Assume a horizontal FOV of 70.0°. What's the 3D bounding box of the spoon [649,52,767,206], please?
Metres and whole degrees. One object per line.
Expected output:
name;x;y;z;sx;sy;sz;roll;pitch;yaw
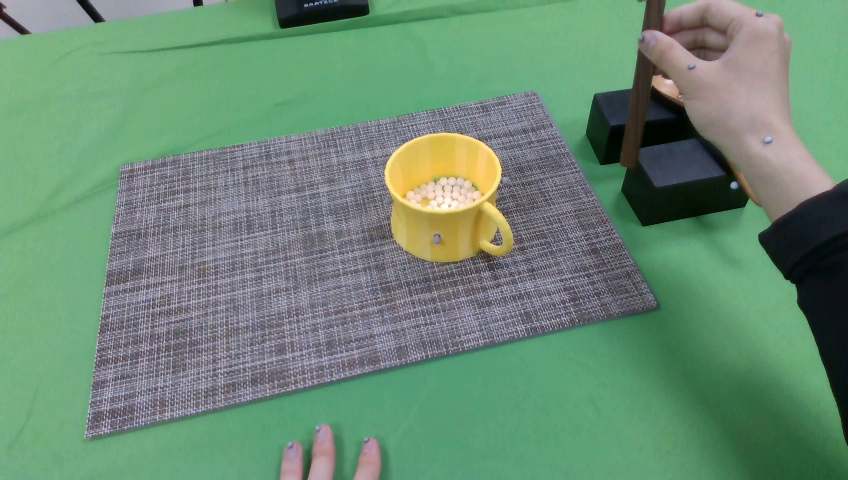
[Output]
spoon;0.253;-0.106;0.547;0.042;0.022;0.191;-11;53;-7

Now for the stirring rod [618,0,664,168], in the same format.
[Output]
stirring rod;0.165;-0.138;0.455;0.014;0.177;0.006;16;32;27

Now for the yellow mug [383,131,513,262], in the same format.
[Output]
yellow mug;0.027;-0.031;0.528;0.100;0.064;0.129;-38;59;-25
